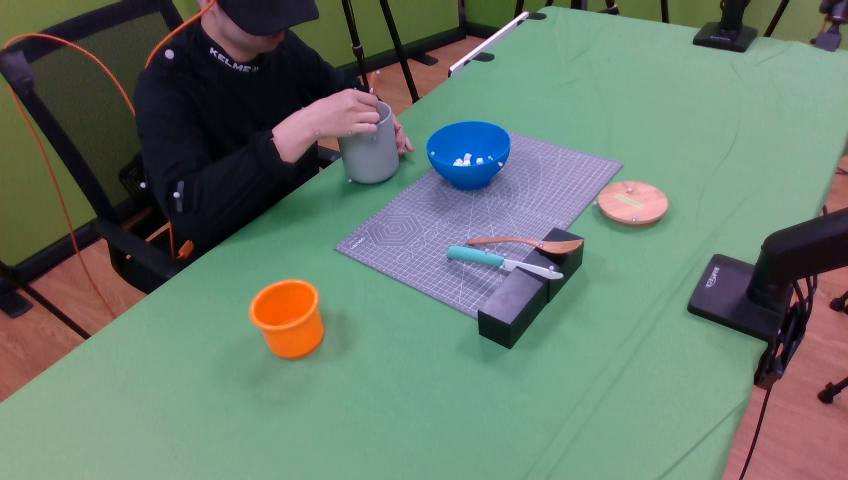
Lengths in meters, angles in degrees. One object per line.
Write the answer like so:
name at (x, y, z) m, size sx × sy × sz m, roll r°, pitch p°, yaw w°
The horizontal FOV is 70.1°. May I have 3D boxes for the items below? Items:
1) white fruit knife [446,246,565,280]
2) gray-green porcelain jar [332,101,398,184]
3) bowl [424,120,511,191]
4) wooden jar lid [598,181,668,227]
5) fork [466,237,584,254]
white fruit knife at (0.111, 0.033, 0.868) m, size 0.205 × 0.027 × 0.016 m, roll 11°, pitch 44°, yaw 40°
gray-green porcelain jar at (-0.105, -0.174, 1.109) m, size 0.106 × 0.127 × 0.105 m, roll -4°, pitch 40°, yaw 4°
bowl at (0.081, -0.141, 1.074) m, size 0.151 × 0.077 × 0.150 m, roll -4°, pitch 41°, yaw 4°
wooden jar lid at (0.340, -0.057, 0.988) m, size 0.108 × 0.021 × 0.108 m, roll -5°, pitch 41°, yaw 5°
fork at (0.142, 0.005, 0.894) m, size 0.205 × 0.019 × 0.028 m, roll 4°, pitch 43°, yaw 41°
